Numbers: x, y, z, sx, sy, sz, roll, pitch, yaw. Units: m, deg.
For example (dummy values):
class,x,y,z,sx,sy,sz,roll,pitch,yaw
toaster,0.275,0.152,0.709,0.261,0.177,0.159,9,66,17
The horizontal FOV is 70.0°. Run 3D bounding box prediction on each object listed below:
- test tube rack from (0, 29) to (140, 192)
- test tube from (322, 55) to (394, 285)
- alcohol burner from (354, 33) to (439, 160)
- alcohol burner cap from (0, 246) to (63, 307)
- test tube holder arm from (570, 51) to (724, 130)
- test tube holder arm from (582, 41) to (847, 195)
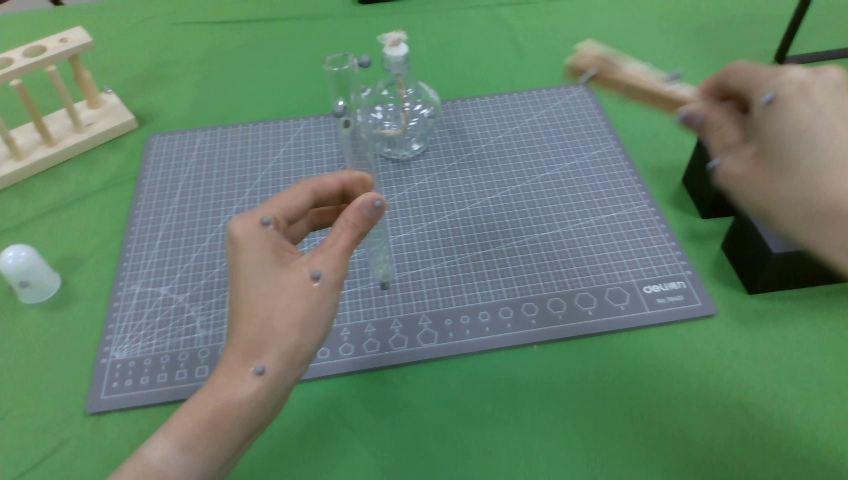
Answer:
class,x,y,z,sx,sy,sz,roll,pitch,yaw
test tube rack,-0.402,-0.097,0.548,0.242,0.086,0.066,-33,55,-24
test tube,-0.033,-0.029,0.333,0.017,0.152,0.017,-4,43,4
alcohol burner,-0.025,-0.131,0.541,0.078,0.120,0.077,0,50,0
alcohol burner cap,-0.306,0.026,0.467,0.034,0.048,0.033,-1,48,1
test tube holder arm,0.127,-0.086,0.347,0.087,0.015,0.010,25,53,12
test tube holder arm,0.167,-0.068,0.339,0.177,0.015,0.013,32,56,16
